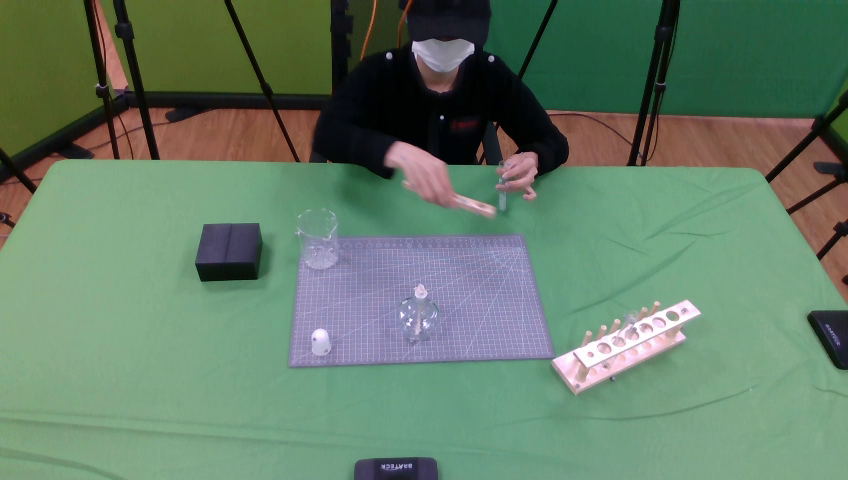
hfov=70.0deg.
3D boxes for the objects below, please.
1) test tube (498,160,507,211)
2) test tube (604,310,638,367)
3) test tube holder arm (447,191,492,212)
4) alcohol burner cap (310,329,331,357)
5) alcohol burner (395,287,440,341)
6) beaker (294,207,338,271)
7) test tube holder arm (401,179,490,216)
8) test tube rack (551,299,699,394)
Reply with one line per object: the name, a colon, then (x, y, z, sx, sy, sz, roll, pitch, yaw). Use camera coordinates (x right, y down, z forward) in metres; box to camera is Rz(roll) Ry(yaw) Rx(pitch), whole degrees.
test tube: (0.156, -0.106, 1.217, 0.017, 0.151, 0.017, -3, 55, 4)
test tube: (0.310, 0.158, 0.957, 0.017, 0.151, 0.017, 1, 49, -1)
test tube holder arm: (0.078, -0.067, 1.066, 0.087, 0.015, 0.010, 20, 51, 22)
alcohol burner cap: (-0.173, 0.168, 1.004, 0.034, 0.048, 0.033, 2, 46, -2)
alcohol burner: (-0.010, 0.116, 1.018, 0.078, 0.119, 0.077, 3, 47, -3)
beaker: (-0.196, 0.003, 1.123, 0.074, 0.101, 0.083, -23, 53, -24)
test tube holder arm: (0.036, -0.077, 1.079, 0.178, 0.015, 0.013, 20, 51, 22)
test tube rack: (0.339, 0.166, 1.021, 0.242, 0.085, 0.066, -19, 50, -21)
